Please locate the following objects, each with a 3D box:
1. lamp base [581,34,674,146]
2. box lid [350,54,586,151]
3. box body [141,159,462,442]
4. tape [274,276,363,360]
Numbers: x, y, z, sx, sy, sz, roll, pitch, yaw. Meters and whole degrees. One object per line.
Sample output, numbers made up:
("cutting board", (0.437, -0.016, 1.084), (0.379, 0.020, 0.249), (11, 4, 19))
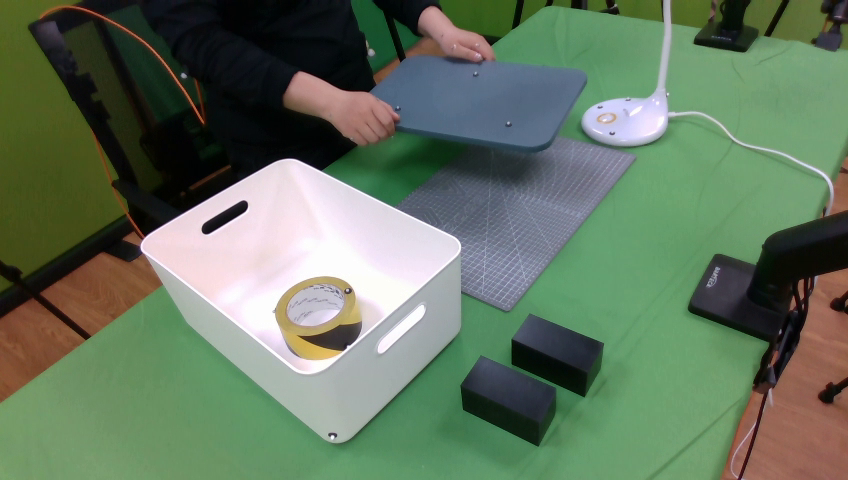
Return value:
("lamp base", (0.392, -0.291, 1.129), (0.180, 0.181, 0.159), (-11, 41, -8))
("box lid", (0.080, -0.253, 1.070), (0.369, 0.015, 0.263), (13, 46, 23))
("box body", (-0.153, 0.063, 0.809), (0.361, 0.161, 0.255), (27, 51, 33))
("tape", (-0.144, 0.106, 0.833), (0.117, 0.053, 0.116), (-4, 41, 4))
